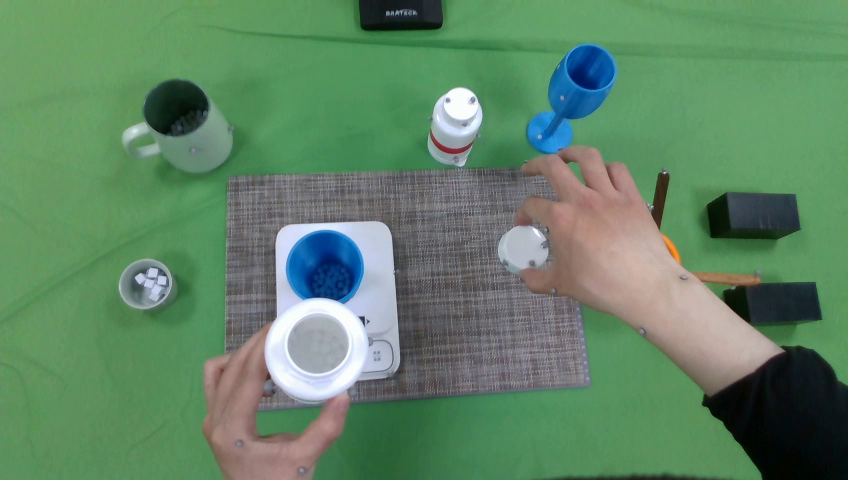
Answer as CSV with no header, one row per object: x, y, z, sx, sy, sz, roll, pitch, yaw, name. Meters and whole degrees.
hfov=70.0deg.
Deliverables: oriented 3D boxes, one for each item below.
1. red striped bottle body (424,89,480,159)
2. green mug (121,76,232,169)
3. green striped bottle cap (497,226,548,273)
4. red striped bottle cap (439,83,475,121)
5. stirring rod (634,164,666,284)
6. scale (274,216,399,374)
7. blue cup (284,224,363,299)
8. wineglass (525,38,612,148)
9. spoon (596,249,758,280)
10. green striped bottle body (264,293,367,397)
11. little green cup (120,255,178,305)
0.036,-0.156,0.790,0.063,0.120,0.062,1,75,-5,red striped bottle body
-0.313,-0.140,0.762,0.125,0.105,0.092,-25,79,-10,green mug
0.089,0.008,0.550,0.044,0.020,0.044,3,45,-2,green striped bottle cap
0.041,-0.169,0.738,0.044,0.018,0.044,1,73,-4,red striped bottle cap
0.284,-0.015,0.763,0.014,0.177,0.006,3,35,9,stirring rod
-0.111,0.069,0.762,0.149,0.031,0.200,-4,77,-6,scale
-0.112,0.034,0.703,0.093,0.100,0.092,1,78,-5,blue cup
0.182,-0.184,0.783,0.074,0.173,0.073,1,75,-4,wineglass
0.307,0.035,0.752,0.022,0.192,0.041,20,77,-45,spoon
-0.072,0.072,0.404,0.063,0.119,0.063,3,74,-10,green striped bottle body
-0.335,0.052,0.745,0.061,0.039,0.061,2,75,-6,little green cup
